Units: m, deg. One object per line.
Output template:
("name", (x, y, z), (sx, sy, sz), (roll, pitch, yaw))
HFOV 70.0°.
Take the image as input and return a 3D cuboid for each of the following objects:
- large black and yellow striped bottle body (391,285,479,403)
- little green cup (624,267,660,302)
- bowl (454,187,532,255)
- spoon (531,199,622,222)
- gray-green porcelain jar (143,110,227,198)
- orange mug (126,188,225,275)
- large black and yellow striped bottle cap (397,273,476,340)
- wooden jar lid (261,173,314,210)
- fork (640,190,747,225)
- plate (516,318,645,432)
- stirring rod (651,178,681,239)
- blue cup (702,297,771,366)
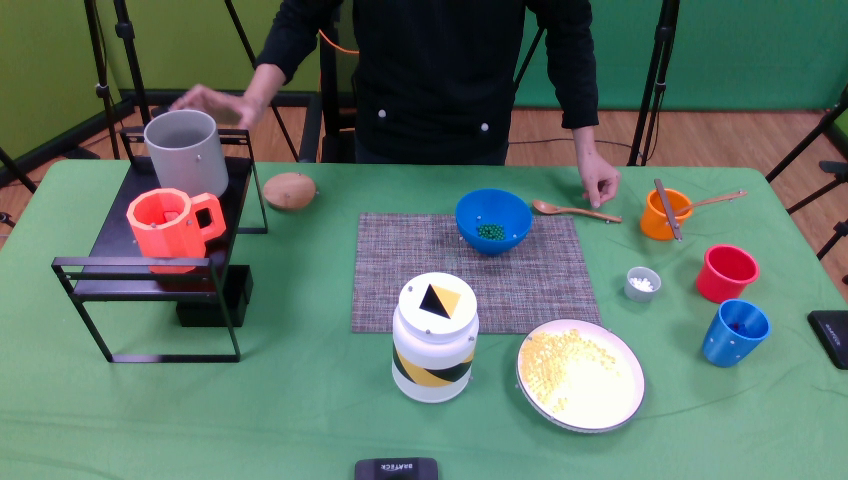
("large black and yellow striped bottle body", (0.015, 0.153, 0.938), (0.131, 0.185, 0.130), (2, 46, -2))
("little green cup", (0.406, 0.084, 1.135), (0.061, 0.039, 0.061), (3, 45, -3))
("bowl", (0.131, -0.025, 1.187), (0.151, 0.077, 0.150), (2, 46, -2))
("spoon", (0.321, -0.060, 1.279), (0.194, 0.022, 0.041), (9, 33, 4))
("gray-green porcelain jar", (-0.375, -0.126, 0.967), (0.106, 0.127, 0.105), (2, 46, -2))
("orange mug", (-0.357, -0.020, 0.885), (0.126, 0.101, 0.083), (-29, 54, -23))
("large black and yellow striped bottle cap", (0.018, 0.094, 0.878), (0.115, 0.019, 0.114), (3, 46, -3))
("wooden jar lid", (-0.286, -0.101, 1.273), (0.108, 0.021, 0.107), (3, 45, -3))
("fork", (0.533, -0.065, 1.211), (0.207, 0.019, 0.028), (-22, 28, 39))
("plate", (0.253, 0.221, 0.992), (0.209, 0.038, 0.208), (2, 46, -2))
("stirring rod", (0.479, -0.065, 1.204), (0.014, 0.006, 0.175), (3, 46, -3))
("blue cup", (0.519, 0.162, 1.025), (0.093, 0.101, 0.092), (3, 45, -3))
